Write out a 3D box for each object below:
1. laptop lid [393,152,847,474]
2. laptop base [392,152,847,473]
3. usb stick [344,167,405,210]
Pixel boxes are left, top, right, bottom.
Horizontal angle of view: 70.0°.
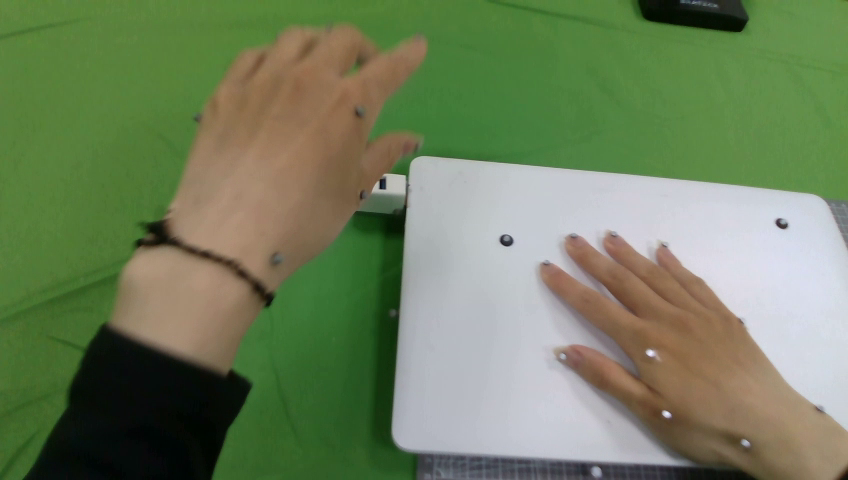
[{"bbox_3d":[0.159,0.040,0.431,0.357,0.013,0.239,6,57,-4],"label":"laptop lid"},{"bbox_3d":[0.158,0.045,0.442,0.355,0.023,0.233,5,58,-5],"label":"laptop base"},{"bbox_3d":[-0.031,-0.038,0.457,0.059,0.027,0.021,5,54,-11],"label":"usb stick"}]
